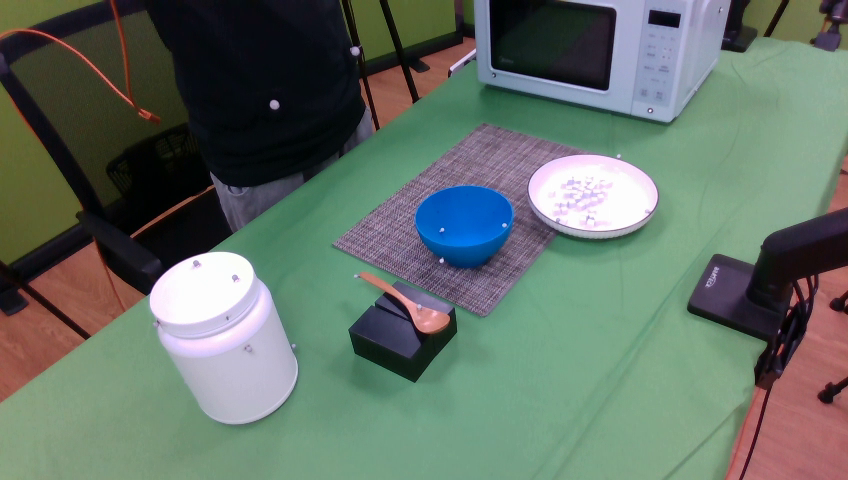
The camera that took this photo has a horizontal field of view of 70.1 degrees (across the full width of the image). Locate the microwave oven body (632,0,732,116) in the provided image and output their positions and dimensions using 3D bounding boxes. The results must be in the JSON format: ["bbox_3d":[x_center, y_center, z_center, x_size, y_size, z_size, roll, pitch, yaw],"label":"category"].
[{"bbox_3d":[0.377,-0.462,1.267,0.438,0.261,0.327,21,48,30],"label":"microwave oven body"}]

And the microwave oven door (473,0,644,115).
[{"bbox_3d":[0.257,-0.396,1.199,0.353,0.245,0.039,21,48,29],"label":"microwave oven door"}]

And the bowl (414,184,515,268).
[{"bbox_3d":[0.063,-0.010,0.922,0.151,0.077,0.150,-4,40,4],"label":"bowl"}]

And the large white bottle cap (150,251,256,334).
[{"bbox_3d":[-0.248,0.056,0.680,0.115,0.018,0.114,-4,41,4],"label":"large white bottle cap"}]

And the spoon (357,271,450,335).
[{"bbox_3d":[-0.034,0.078,0.812,0.042,0.022,0.192,-36,43,-23],"label":"spoon"}]

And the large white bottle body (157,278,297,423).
[{"bbox_3d":[-0.239,0.120,0.736,0.130,0.185,0.130,-4,41,4],"label":"large white bottle body"}]

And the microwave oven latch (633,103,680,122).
[{"bbox_3d":[0.443,-0.249,1.157,0.078,0.029,0.030,21,48,30],"label":"microwave oven latch"}]

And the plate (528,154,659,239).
[{"bbox_3d":[0.274,-0.069,0.993,0.209,0.038,0.208,-2,42,2],"label":"plate"}]
